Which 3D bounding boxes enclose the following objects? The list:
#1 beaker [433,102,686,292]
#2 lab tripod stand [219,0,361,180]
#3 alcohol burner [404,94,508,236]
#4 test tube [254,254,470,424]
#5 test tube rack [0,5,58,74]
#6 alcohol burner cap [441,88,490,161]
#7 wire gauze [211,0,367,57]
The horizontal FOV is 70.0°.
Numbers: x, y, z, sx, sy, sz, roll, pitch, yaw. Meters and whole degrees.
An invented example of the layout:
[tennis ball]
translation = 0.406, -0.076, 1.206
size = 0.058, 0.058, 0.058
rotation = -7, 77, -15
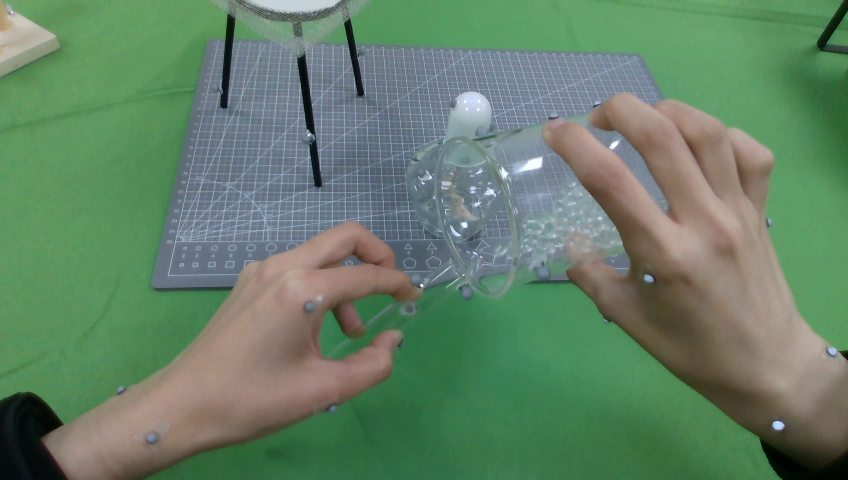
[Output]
[beaker]
translation = 0.064, -0.022, 0.290
size = 0.100, 0.084, 0.073
rotation = -16, 57, -20
[lab tripod stand]
translation = -0.100, -0.142, 0.476
size = 0.148, 0.132, 0.147
rotation = 5, 51, -6
[alcohol burner]
translation = 0.026, -0.058, 0.438
size = 0.078, 0.120, 0.077
rotation = 5, 50, -5
[test tube]
translation = -0.037, 0.056, 0.325
size = 0.150, 0.017, 0.017
rotation = -38, 54, 16
[test tube rack]
translation = -0.430, -0.150, 0.473
size = 0.066, 0.086, 0.241
rotation = 30, 54, 16
[alcohol burner cap]
translation = 0.029, -0.080, 0.409
size = 0.034, 0.048, 0.033
rotation = 2, 55, -3
[wire gauze]
translation = -0.096, -0.184, 0.423
size = 0.124, 0.011, 0.121
rotation = 31, 55, 15
